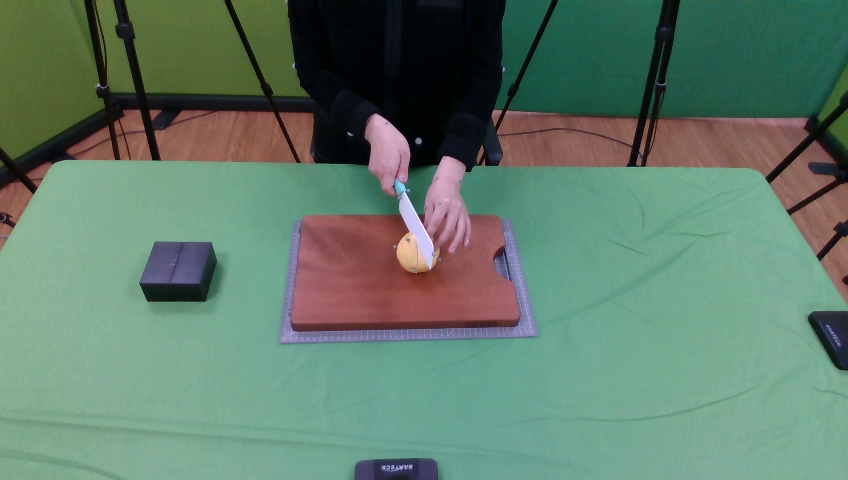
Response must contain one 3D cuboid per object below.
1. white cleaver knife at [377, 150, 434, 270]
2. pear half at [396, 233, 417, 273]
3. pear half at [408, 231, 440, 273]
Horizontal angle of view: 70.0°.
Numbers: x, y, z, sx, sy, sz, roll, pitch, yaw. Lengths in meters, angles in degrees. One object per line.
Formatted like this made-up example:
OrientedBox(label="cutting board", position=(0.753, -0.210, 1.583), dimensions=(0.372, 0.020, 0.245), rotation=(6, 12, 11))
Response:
OrientedBox(label="white cleaver knife", position=(-0.038, -0.061, 1.084), dimensions=(0.021, 0.066, 0.284), rotation=(-8, 47, -20))
OrientedBox(label="pear half", position=(-0.034, 0.022, 1.089), dimensions=(0.031, 0.088, 0.070), rotation=(-17, 55, -16))
OrientedBox(label="pear half", position=(0.000, 0.008, 1.092), dimensions=(0.056, 0.110, 0.076), rotation=(-17, 55, -13))
